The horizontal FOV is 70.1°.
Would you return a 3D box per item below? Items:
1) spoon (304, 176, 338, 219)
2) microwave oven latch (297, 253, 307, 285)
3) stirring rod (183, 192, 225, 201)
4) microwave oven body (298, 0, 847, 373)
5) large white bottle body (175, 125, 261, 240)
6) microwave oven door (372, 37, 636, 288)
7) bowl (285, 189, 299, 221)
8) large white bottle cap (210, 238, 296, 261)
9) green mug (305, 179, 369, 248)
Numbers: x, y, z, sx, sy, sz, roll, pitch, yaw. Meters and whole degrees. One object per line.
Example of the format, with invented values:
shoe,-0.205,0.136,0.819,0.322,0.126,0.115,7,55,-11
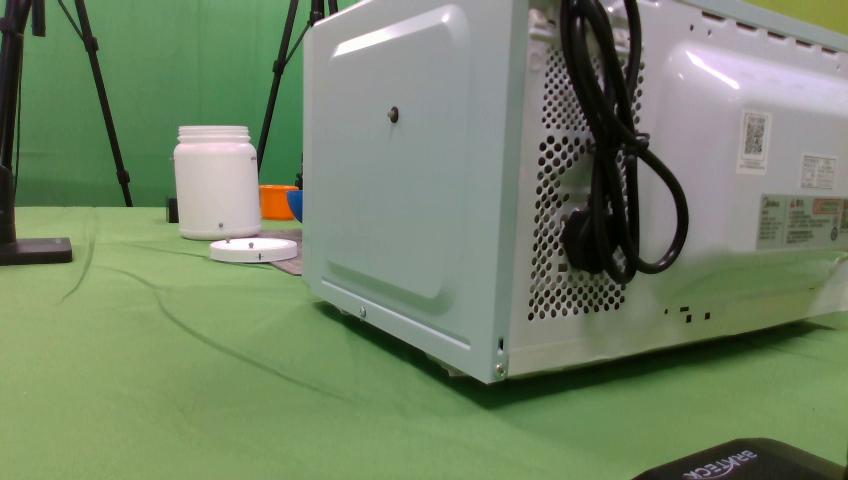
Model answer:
spoon,-0.201,-0.084,1.146,0.042,0.021,0.193,2,31,-24
microwave oven latch,-0.082,0.027,0.582,0.079,0.029,0.030,-1,8,-33
stirring rod,-0.473,-0.094,1.293,0.175,0.006,0.014,11,7,44
microwave oven body,0.151,-0.055,0.543,0.444,0.260,0.324,-1,8,-33
large white bottle body,-0.349,-0.100,1.025,0.131,0.184,0.130,-1,9,0
microwave oven door,0.110,-0.080,0.686,0.358,0.243,0.039,-2,9,-33
bowl,-0.180,-0.050,1.113,0.151,0.077,0.151,3,8,0
large white bottle cap,-0.236,0.012,0.839,0.115,0.018,0.115,1,7,0
green mug,-0.133,-0.044,0.977,0.092,0.105,0.126,6,8,32
